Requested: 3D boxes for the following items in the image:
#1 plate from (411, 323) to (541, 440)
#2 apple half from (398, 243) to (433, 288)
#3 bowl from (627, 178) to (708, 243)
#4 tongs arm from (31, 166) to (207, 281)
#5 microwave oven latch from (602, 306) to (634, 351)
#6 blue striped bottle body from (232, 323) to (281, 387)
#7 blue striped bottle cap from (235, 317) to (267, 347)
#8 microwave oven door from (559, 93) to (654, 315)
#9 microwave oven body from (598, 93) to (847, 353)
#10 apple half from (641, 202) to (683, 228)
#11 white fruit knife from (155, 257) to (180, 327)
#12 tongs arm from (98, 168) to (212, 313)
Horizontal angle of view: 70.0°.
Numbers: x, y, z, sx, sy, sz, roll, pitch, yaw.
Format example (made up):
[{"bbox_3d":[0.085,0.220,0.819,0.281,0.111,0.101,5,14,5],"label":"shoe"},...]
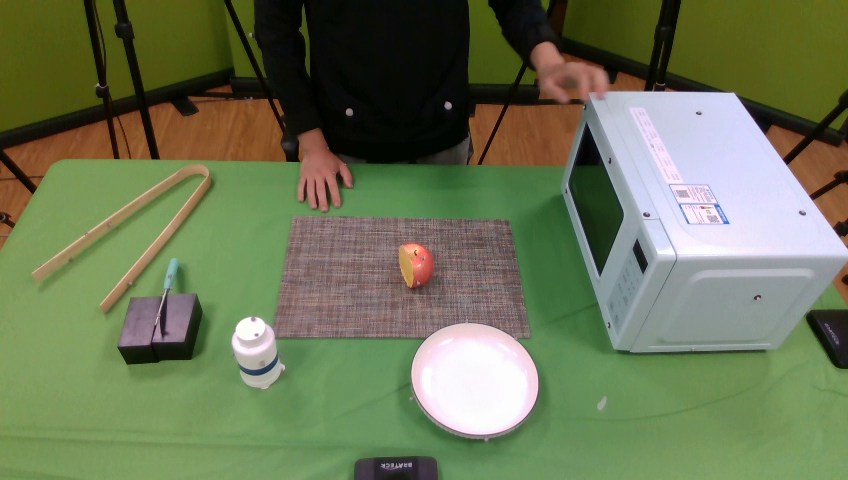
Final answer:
[{"bbox_3d":[0.082,0.228,0.976,0.208,0.039,0.206,2,45,-2],"label":"plate"},{"bbox_3d":[-0.012,0.046,1.115,0.053,0.075,0.080,-11,44,-20],"label":"apple half"},{"bbox_3d":[0.456,-0.047,1.167,0.151,0.077,0.150,7,36,-5],"label":"bowl"},{"bbox_3d":[-0.578,-0.040,1.184,0.050,0.026,0.384,23,48,17],"label":"tongs arm"},{"bbox_3d":[0.332,0.153,1.044,0.030,0.029,0.078,-1,45,-4],"label":"microwave oven latch"},{"bbox_3d":[-0.262,0.172,0.944,0.063,0.121,0.062,2,46,-2],"label":"blue striped bottle body"},{"bbox_3d":[-0.259,0.137,0.907,0.044,0.021,0.044,3,43,-2],"label":"blue striped bottle cap"},{"bbox_3d":[0.327,-0.074,1.123,0.039,0.245,0.353,-1,46,-5],"label":"microwave oven door"},{"bbox_3d":[0.475,-0.041,1.109,0.326,0.261,0.438,-1,45,-4],"label":"microwave oven body"},{"bbox_3d":[0.457,-0.054,1.160,0.081,0.033,0.081,-1,32,1],"label":"apple half"},{"bbox_3d":[-0.440,0.085,1.037,0.016,0.027,0.206,10,26,-19],"label":"white fruit knife"},{"bbox_3d":[-0.504,-0.012,1.167,0.028,0.028,0.385,11,46,11],"label":"tongs arm"}]
